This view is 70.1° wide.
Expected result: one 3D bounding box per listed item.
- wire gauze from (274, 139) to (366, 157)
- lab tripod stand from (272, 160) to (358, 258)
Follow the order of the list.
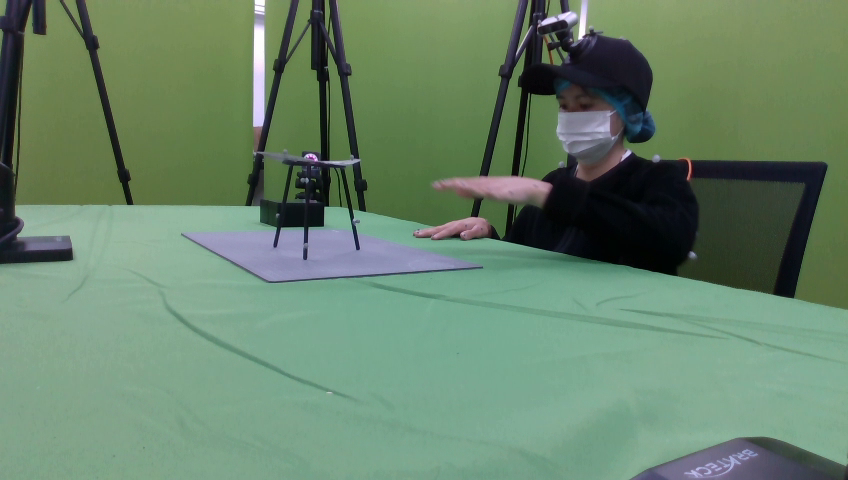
[{"bbox_3d":[-0.153,-0.130,0.869,0.122,0.011,0.124,-3,1,-15],"label":"wire gauze"},{"bbox_3d":[-0.159,-0.048,0.876,0.148,0.131,0.148,3,5,0],"label":"lab tripod stand"}]
